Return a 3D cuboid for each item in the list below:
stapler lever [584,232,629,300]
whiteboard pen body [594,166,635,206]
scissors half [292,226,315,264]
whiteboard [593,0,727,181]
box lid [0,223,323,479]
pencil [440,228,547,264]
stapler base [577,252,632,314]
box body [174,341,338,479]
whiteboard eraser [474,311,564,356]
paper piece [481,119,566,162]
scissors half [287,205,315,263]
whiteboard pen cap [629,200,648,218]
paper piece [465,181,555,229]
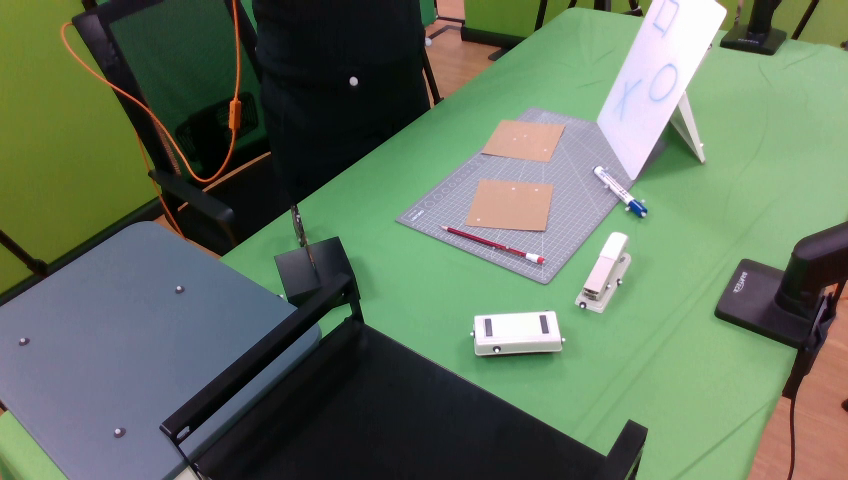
[{"bbox_3d":[0.260,0.034,0.858,0.026,0.040,0.118,16,46,30],"label":"stapler lever"},{"bbox_3d":[0.330,-0.085,1.027,0.017,0.017,0.139,-17,41,-10],"label":"whiteboard pen body"},{"bbox_3d":[-0.188,0.007,0.955,0.013,0.040,0.174,-24,22,-12],"label":"scissors half"},{"bbox_3d":[0.452,-0.272,1.056,0.144,0.305,0.216,9,38,-12],"label":"whiteboard"},{"bbox_3d":[-0.318,0.109,0.671,0.368,0.015,0.264,24,50,31],"label":"box lid"},{"bbox_3d":[0.105,0.006,0.958,0.192,0.012,0.012,18,46,30],"label":"pencil"},{"bbox_3d":[0.264,0.051,0.875,0.041,0.024,0.131,16,47,30],"label":"stapler base"},{"bbox_3d":[-0.311,0.165,0.720,0.361,0.161,0.255,23,49,32],"label":"box body"},{"bbox_3d":[0.123,0.125,0.794,0.113,0.042,0.055,-5,38,3],"label":"whiteboard eraser"},{"bbox_3d":[0.197,-0.199,1.188,0.135,0.004,0.135,11,44,21],"label":"paper piece"},{"bbox_3d":[-0.191,-0.010,0.945,0.013,0.040,0.173,-19,38,-15],"label":"scissors half"},{"bbox_3d":[0.348,-0.052,0.984,0.018,0.018,0.033,-18,41,-12],"label":"whiteboard pen cap"},{"bbox_3d":[0.149,-0.062,1.035,0.137,0.009,0.136,4,37,17],"label":"paper piece"}]
